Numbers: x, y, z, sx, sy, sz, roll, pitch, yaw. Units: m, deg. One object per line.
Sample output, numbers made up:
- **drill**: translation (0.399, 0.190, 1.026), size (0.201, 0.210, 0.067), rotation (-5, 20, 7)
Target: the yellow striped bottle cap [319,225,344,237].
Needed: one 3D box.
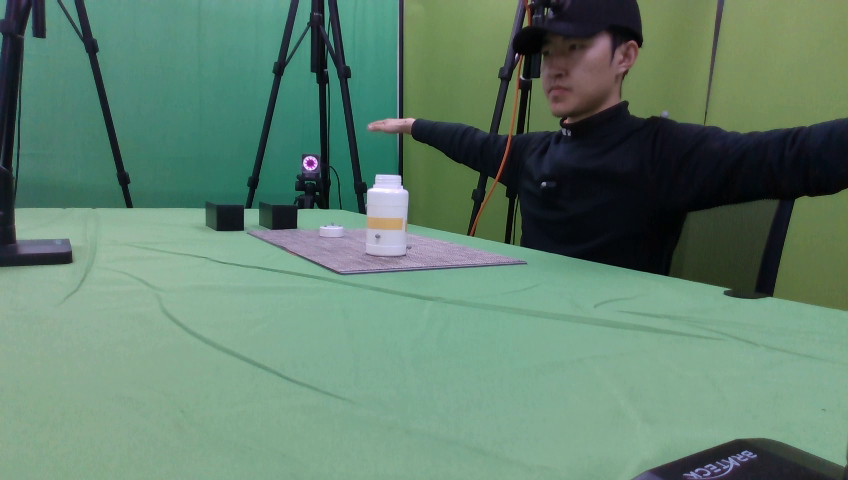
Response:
- **yellow striped bottle cap**: translation (-0.169, -0.017, 1.108), size (0.044, 0.018, 0.044), rotation (0, 6, 0)

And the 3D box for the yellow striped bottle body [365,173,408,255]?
- **yellow striped bottle body**: translation (-0.055, -0.040, 0.905), size (0.063, 0.120, 0.063), rotation (2, 7, 0)
